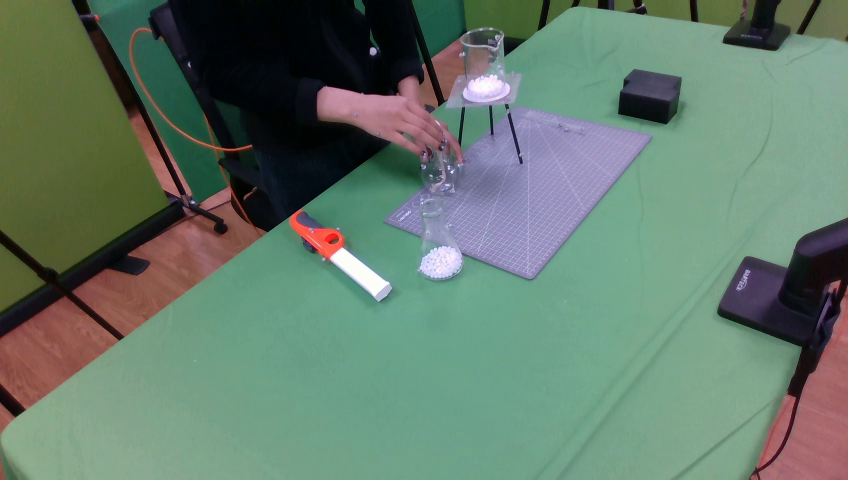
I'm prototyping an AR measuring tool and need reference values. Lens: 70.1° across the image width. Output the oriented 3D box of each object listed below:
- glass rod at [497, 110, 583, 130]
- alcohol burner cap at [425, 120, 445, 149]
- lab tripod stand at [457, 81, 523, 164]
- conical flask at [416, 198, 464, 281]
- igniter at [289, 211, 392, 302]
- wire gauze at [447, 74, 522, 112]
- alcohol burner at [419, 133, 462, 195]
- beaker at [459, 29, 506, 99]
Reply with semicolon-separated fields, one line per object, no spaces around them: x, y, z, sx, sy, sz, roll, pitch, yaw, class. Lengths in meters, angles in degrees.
0.233;-0.245;1.235;0.198;0.008;0.008;20;49;35;glass rod
0.017;-0.181;1.030;0.034;0.048;0.033;-7;42;7;alcohol burner cap
0.120;-0.219;1.130;0.148;0.132;0.147;-7;39;6;lab tripod stand
0.019;-0.004;0.907;0.075;0.122;0.075;-5;40;5;conical flask
-0.145;0.019;0.986;0.057;0.025;0.274;-40;48;-18;igniter
0.110;-0.268;1.087;0.121;0.011;0.125;1;43;15;wire gauze
0.028;-0.139;1.068;0.078;0.119;0.077;-4;40;4;alcohol burner
0.107;-0.305;1.056;0.074;0.101;0.083;-27;43;-18;beaker
